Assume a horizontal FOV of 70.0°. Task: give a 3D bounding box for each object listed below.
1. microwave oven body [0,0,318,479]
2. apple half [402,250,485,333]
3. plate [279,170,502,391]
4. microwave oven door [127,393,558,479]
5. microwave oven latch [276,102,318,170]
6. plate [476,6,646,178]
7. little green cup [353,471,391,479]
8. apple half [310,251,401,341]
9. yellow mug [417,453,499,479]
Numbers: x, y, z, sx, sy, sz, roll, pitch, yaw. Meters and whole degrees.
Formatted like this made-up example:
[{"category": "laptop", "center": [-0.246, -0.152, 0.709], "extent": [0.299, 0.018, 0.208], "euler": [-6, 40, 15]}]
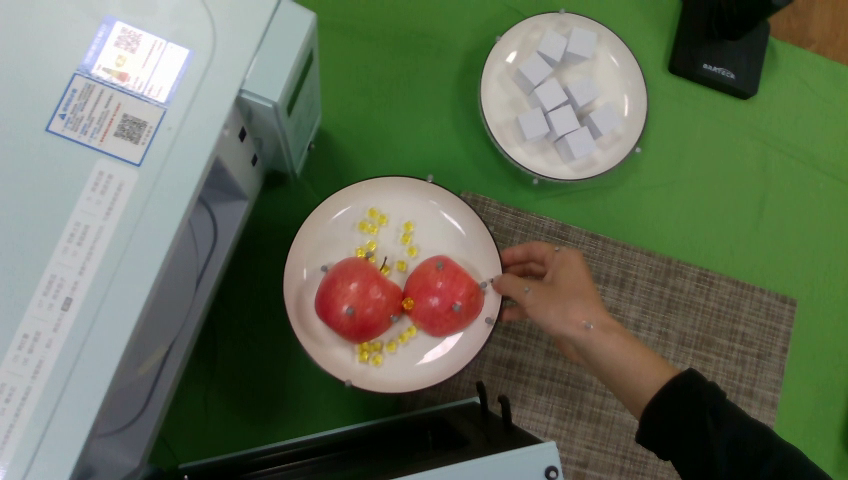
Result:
[{"category": "microwave oven body", "center": [-0.322, -0.018, 0.516], "extent": [0.327, 0.260, 0.440], "euler": [21, 81, -7]}, {"category": "apple half", "center": [0.016, 0.049, 0.574], "extent": [0.081, 0.033, 0.081], "euler": [0, 80, 3]}, {"category": "plate", "center": [-0.031, 0.038, 0.578], "extent": [0.209, 0.038, 0.208], "euler": [1, 81, -4]}, {"category": "microwave oven door", "center": [-0.092, 0.201, 0.523], "extent": [0.356, 0.244, 0.039], "euler": [-10, 84, -10]}, {"category": "microwave oven latch", "center": [-0.138, -0.118, 0.654], "extent": [0.030, 0.029, 0.079], "euler": [20, 82, -7]}, {"category": "plate", "center": [0.162, -0.174, 0.728], "extent": [0.208, 0.039, 0.207], "euler": [1, 83, -9]}, {"category": "little green cup", "center": [-0.055, 0.276, 0.641], "extent": [0.062, 0.038, 0.061], "euler": [1, 83, -9]}, {"category": "apple half", "center": [-0.065, 0.051, 0.558], "extent": [0.080, 0.053, 0.074], "euler": [45, 83, 3]}, {"category": "yellow mug", "center": [0.033, 0.298, 0.638], "extent": [0.100, 0.064, 0.130], "euler": [28, 82, -5]}]
